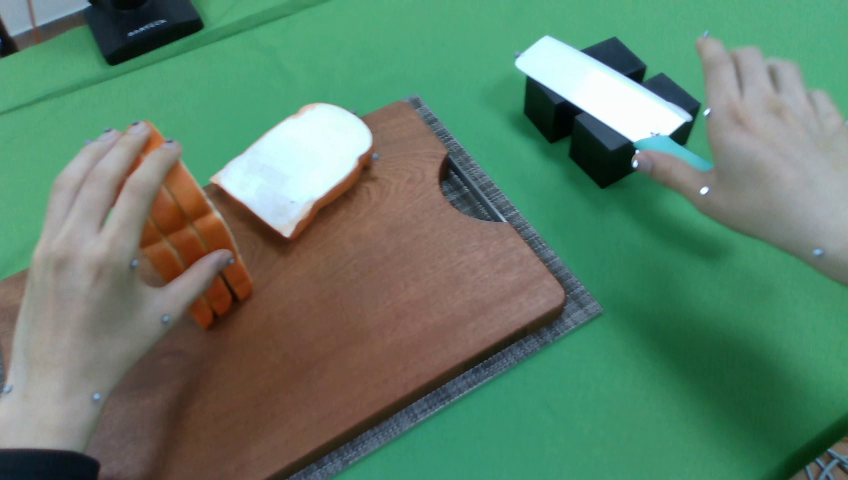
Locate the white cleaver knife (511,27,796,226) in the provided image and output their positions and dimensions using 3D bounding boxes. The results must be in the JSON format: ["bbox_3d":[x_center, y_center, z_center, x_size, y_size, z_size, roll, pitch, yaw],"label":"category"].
[{"bbox_3d":[0.190,-0.111,0.521,0.066,0.022,0.284,-37,63,-17],"label":"white cleaver knife"}]

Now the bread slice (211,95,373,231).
[{"bbox_3d":[-0.107,-0.074,0.537,0.104,0.019,0.131,35,70,27],"label":"bread slice"}]

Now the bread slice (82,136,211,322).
[{"bbox_3d":[-0.203,-0.013,0.442,0.018,0.135,0.106,-33,56,-20],"label":"bread slice"}]
